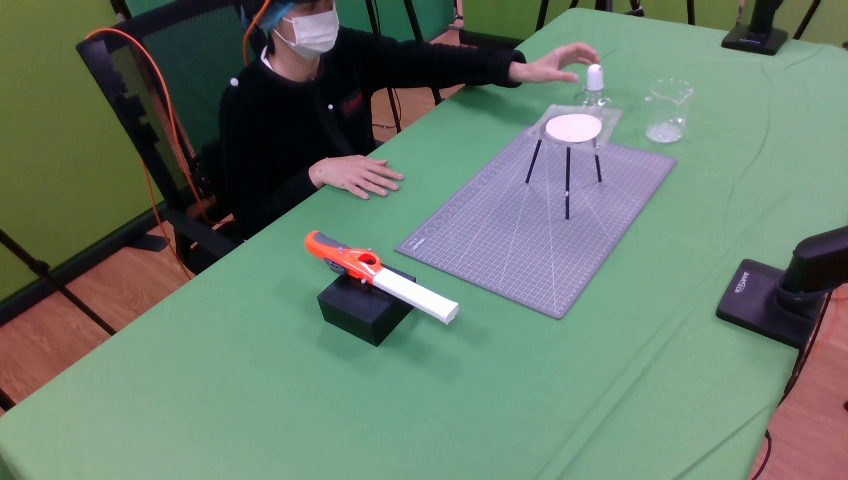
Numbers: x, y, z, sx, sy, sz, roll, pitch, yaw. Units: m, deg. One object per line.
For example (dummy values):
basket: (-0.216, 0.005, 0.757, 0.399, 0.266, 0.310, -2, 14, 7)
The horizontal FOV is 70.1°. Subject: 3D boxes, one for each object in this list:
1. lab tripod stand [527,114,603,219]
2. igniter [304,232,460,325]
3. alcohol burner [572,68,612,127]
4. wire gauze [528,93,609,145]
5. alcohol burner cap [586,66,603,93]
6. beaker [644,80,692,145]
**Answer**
lab tripod stand: (0.234, -0.129, 1.002, 0.148, 0.132, 0.147, -6, 40, 6)
igniter: (-0.070, 0.048, 0.853, 0.274, 0.025, 0.057, 24, 48, 29)
alcohol burner: (0.333, -0.285, 1.192, 0.078, 0.119, 0.077, -4, 42, 4)
wire gauze: (0.225, -0.188, 0.943, 0.121, 0.011, 0.124, 6, 48, 9)
alcohol burner cap: (0.330, -0.312, 1.170, 0.034, 0.048, 0.033, -8, 38, 7)
beaker: (0.451, -0.233, 1.122, 0.074, 0.101, 0.083, -8, 40, 1)
